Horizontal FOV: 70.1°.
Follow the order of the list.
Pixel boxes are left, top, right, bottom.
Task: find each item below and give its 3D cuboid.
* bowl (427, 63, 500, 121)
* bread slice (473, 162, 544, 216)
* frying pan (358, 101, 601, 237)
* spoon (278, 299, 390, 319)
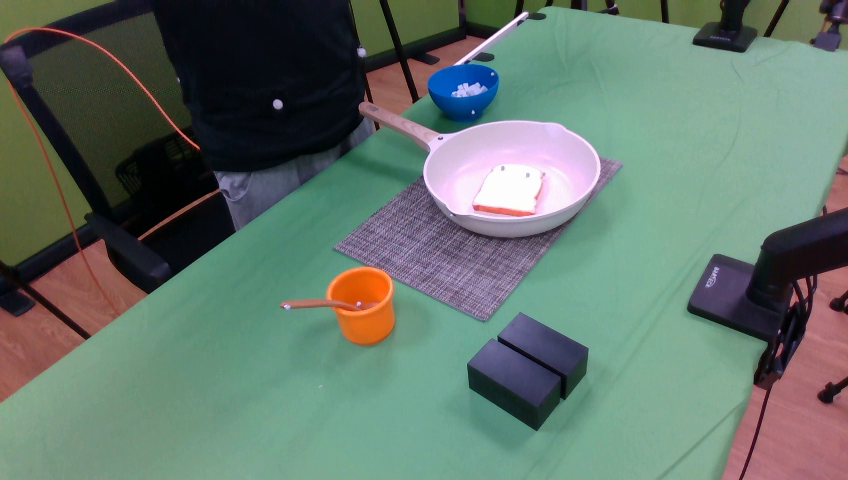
[{"bbox_3d":[0.084,-0.301,1.263,0.151,0.077,0.150,-4,41,4],"label":"bowl"},{"bbox_3d":[0.149,-0.089,1.041,0.106,0.018,0.134,7,44,15],"label":"bread slice"},{"bbox_3d":[0.067,-0.153,1.067,0.484,0.103,0.308,32,52,26],"label":"frying pan"},{"bbox_3d":[-0.113,0.086,0.787,0.041,0.021,0.195,30,8,36],"label":"spoon"}]
